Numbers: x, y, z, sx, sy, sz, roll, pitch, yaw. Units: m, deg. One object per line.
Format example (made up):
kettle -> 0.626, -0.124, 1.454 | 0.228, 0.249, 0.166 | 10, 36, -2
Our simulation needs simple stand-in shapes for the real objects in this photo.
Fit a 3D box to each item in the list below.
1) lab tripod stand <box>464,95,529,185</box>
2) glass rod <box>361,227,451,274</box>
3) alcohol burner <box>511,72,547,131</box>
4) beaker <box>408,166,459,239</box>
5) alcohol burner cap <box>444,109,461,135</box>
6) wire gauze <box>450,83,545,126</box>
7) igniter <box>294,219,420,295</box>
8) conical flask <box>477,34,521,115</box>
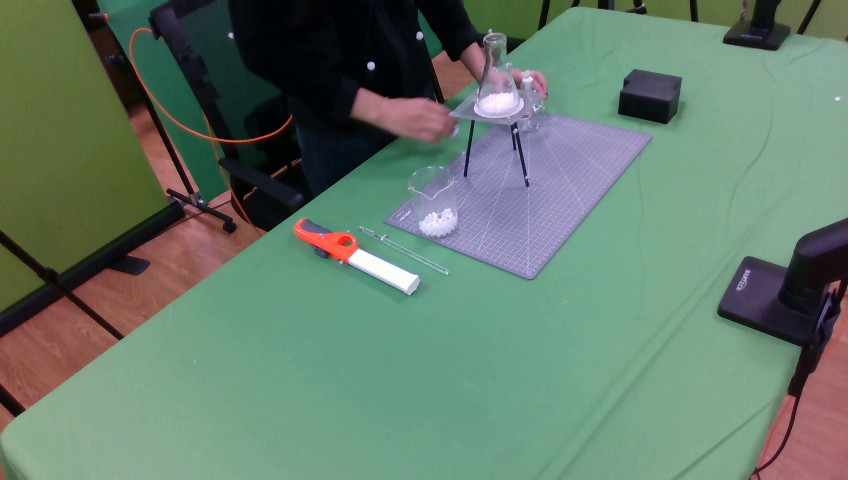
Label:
lab tripod stand -> 0.138, -0.182, 1.082 | 0.148, 0.132, 0.147 | -6, 38, 5
glass rod -> -0.033, 0.015, 0.985 | 0.198, 0.008, 0.008 | 26, 52, 34
alcohol burner -> 0.205, -0.278, 1.197 | 0.078, 0.119, 0.077 | -5, 42, 5
beaker -> 0.018, -0.057, 0.984 | 0.074, 0.101, 0.083 | -6, 41, 5
alcohol burner cap -> 0.054, -0.232, 1.176 | 0.034, 0.048, 0.033 | -4, 55, 6
wire gauze -> 0.126, -0.232, 1.041 | 0.120, 0.011, 0.125 | 17, 48, 31
igniter -> -0.118, 0.022, 0.977 | 0.274, 0.025, 0.057 | 24, 60, 34
conical flask -> 0.121, -0.275, 0.999 | 0.075, 0.122, 0.075 | -5, 40, 5
